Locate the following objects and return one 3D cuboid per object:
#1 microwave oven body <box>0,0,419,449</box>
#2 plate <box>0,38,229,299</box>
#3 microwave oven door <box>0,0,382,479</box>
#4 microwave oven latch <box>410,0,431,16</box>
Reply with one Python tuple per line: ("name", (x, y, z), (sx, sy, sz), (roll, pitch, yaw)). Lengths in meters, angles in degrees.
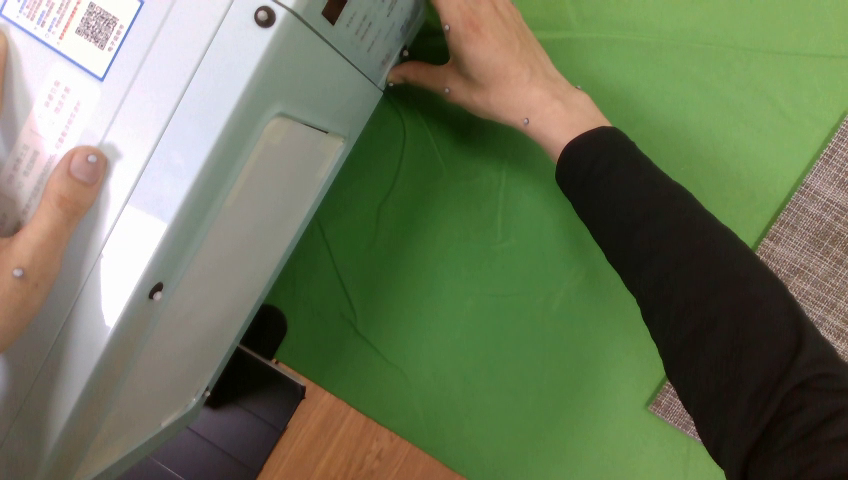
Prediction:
("microwave oven body", (-0.256, -0.097, 0.437), (0.326, 0.260, 0.442), (32, 99, 2))
("plate", (-0.258, -0.056, 0.500), (0.209, 0.038, 0.209), (1, 99, 4))
("microwave oven door", (-0.155, 0.017, 0.434), (0.039, 0.243, 0.356), (32, 98, 3))
("microwave oven latch", (-0.031, -0.190, 0.498), (0.079, 0.029, 0.030), (-30, 93, 9))
